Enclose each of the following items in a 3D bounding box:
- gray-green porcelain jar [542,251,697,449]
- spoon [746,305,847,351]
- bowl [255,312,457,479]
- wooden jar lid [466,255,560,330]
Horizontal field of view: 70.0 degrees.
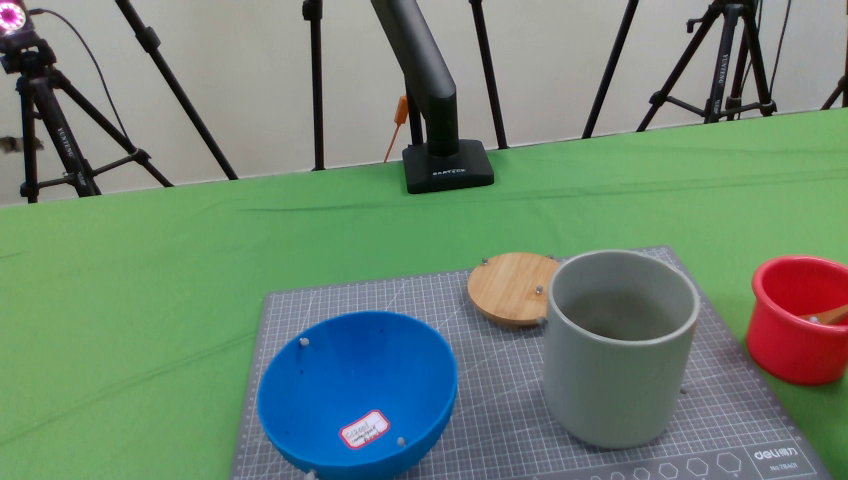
[{"bbox_3d":[0.145,0.089,0.471,0.106,0.127,0.105,-4,36,3],"label":"gray-green porcelain jar"},{"bbox_3d":[0.355,0.054,0.483,0.022,0.194,0.041,49,45,-5],"label":"spoon"},{"bbox_3d":[-0.047,0.135,0.474,0.151,0.077,0.150,-3,36,3],"label":"bowl"},{"bbox_3d":[0.097,0.054,0.620,0.108,0.021,0.107,-4,34,3],"label":"wooden jar lid"}]
